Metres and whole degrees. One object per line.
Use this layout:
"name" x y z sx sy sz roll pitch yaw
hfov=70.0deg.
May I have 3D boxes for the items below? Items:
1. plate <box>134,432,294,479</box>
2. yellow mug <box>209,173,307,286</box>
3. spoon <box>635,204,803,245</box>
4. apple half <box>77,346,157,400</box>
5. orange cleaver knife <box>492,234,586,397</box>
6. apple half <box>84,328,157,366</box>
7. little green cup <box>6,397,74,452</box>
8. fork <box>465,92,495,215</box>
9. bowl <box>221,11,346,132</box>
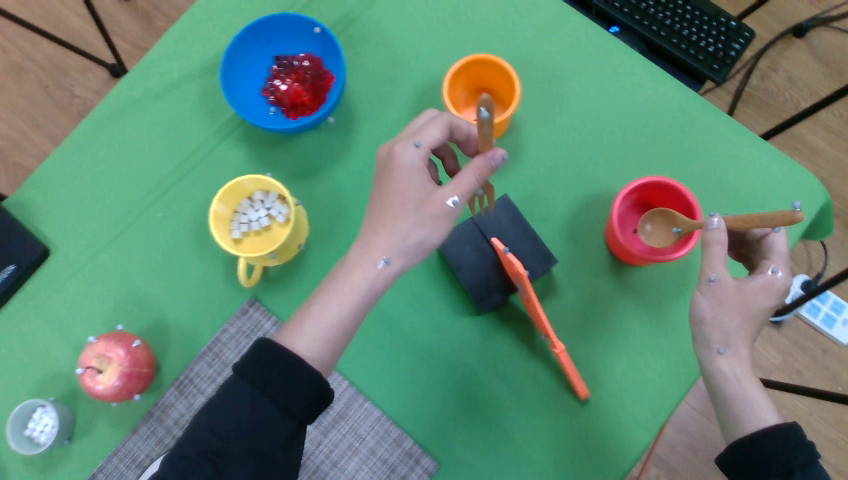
"plate" -0.231 0.319 0.671 0.209 0.038 0.208 -1 79 3
"yellow mug" -0.200 -0.009 0.727 0.100 0.064 0.130 8 80 4
"spoon" 0.254 -0.017 0.546 0.022 0.193 0.041 -1 90 -13
"apple half" -0.357 0.156 0.698 0.081 0.075 0.053 20 84 3
"orange cleaver knife" 0.129 0.085 0.680 0.012 0.076 0.213 -30 110 -2
"apple half" -0.344 0.120 0.703 0.081 0.081 0.032 19 83 7
"little green cup" -0.446 0.214 0.707 0.061 0.039 0.061 -1 78 3
"fork" 0.048 -0.063 0.502 0.028 0.208 0.018 -11 73 0
"bowl" -0.165 -0.197 0.757 0.151 0.077 0.150 -1 79 3
